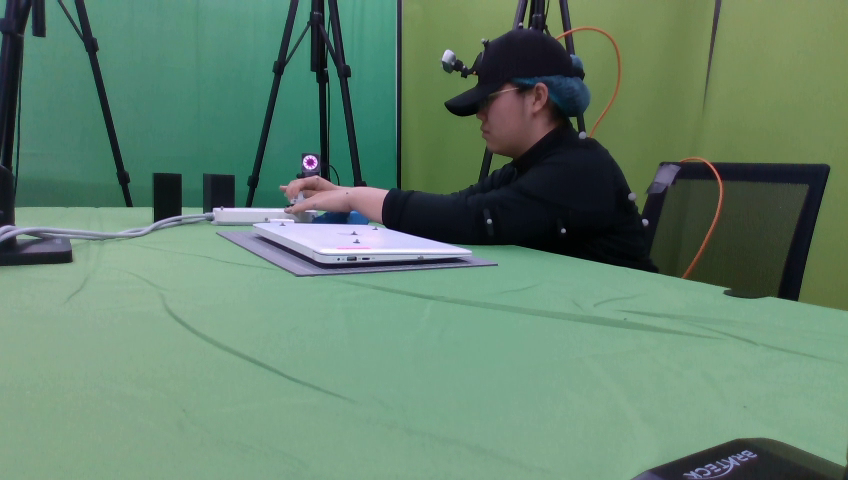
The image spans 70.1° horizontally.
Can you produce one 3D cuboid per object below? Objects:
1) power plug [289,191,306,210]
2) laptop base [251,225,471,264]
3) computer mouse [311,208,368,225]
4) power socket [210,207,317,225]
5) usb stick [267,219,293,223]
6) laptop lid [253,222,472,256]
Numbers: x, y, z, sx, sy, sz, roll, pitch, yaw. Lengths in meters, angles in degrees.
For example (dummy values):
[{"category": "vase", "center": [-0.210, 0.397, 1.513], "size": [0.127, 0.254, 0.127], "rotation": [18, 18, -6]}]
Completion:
[{"category": "power plug", "center": [-0.280, -0.081, 1.339], "size": [0.035, 0.052, 0.072], "rotation": [2, -9, -16]}, {"category": "laptop base", "center": [-0.115, 0.007, 0.955], "size": [0.237, 0.023, 0.352], "rotation": [2, 6, -31]}, {"category": "computer mouse", "center": [-0.179, -0.045, 1.276], "size": [0.118, 0.041, 0.062], "rotation": [-6, 13, -28]}, {"category": "power socket", "center": [-0.335, -0.051, 1.282], "size": [0.228, 0.032, 0.072], "rotation": [-1, 9, -28]}, {"category": "usb stick", "center": [-0.272, -0.025, 1.108], "size": [0.059, 0.027, 0.021], "rotation": [-4, 11, -27]}, {"category": "laptop lid", "center": [-0.113, -0.005, 0.955], "size": [0.243, 0.013, 0.355], "rotation": [1, 7, -29]}]
